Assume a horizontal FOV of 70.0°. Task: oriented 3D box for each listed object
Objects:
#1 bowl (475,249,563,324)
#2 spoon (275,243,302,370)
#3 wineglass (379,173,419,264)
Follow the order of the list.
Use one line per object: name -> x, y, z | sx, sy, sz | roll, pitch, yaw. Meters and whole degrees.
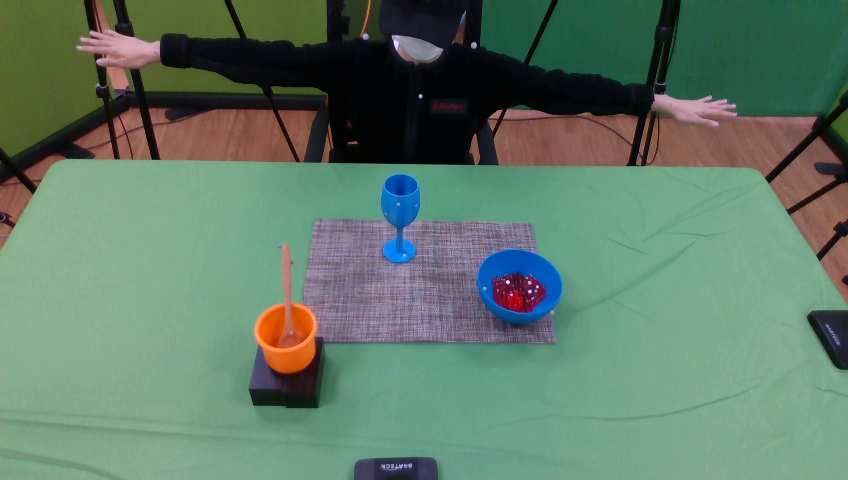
bowl -> 0.163, 0.096, 1.074 | 0.151, 0.077, 0.150 | 2, 46, -2
spoon -> -0.209, 0.101, 0.926 | 0.041, 0.193, 0.021 | -1, 2, -6
wineglass -> -0.046, -0.036, 1.120 | 0.074, 0.173, 0.073 | 2, 46, -2
